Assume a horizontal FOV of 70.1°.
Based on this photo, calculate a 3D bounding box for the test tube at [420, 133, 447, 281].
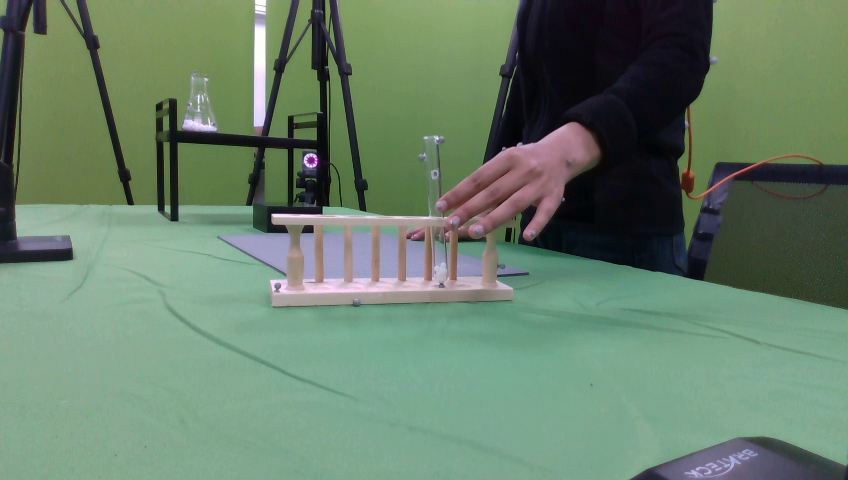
[{"bbox_3d":[0.010,-0.031,0.606,0.017,0.150,0.017,-5,11,1],"label":"test tube"}]

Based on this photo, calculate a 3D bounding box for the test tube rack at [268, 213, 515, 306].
[{"bbox_3d":[-0.033,0.015,0.617,0.243,0.085,0.066,0,7,-17],"label":"test tube rack"}]

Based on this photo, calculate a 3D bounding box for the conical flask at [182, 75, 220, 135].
[{"bbox_3d":[-0.475,-0.287,1.288,0.075,0.122,0.075,2,7,0],"label":"conical flask"}]
